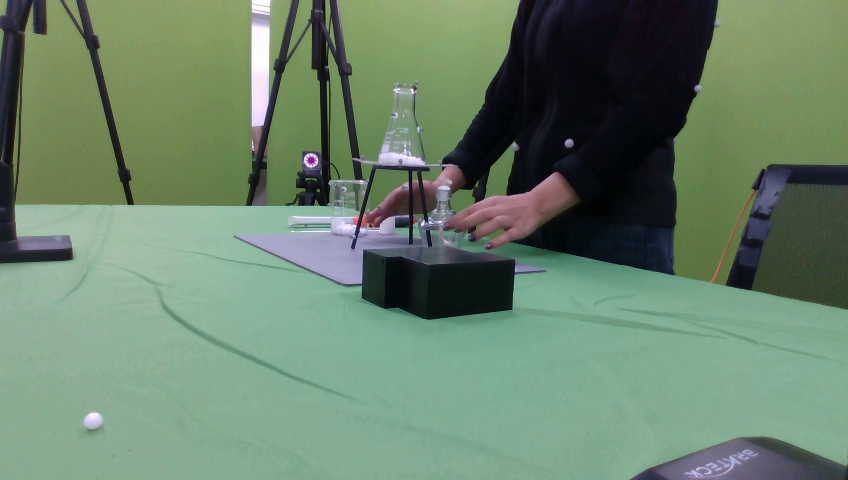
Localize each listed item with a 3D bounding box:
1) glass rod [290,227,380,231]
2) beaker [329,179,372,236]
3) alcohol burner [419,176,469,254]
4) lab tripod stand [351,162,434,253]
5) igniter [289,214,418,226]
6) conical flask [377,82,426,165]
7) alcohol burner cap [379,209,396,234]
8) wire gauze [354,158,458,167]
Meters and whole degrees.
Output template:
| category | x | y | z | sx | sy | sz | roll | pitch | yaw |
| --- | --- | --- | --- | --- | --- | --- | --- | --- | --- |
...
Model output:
| category | x | y | z | sx | sy | sz | roll | pitch | yaw |
| --- | --- | --- | --- | --- | --- | --- | --- | --- | --- |
| glass rod | -0.161 | -0.023 | 1.177 | 0.201 | 0.008 | 0.008 | -2 | 8 | -28 |
| beaker | -0.137 | -0.061 | 1.101 | 0.084 | 0.100 | 0.074 | 4 | 7 | 20 |
| alcohol burner | 0.031 | -0.039 | 0.930 | 0.078 | 0.119 | 0.078 | 0 | 8 | 0 |
| lab tripod stand | -0.034 | -0.052 | 0.933 | 0.148 | 0.131 | 0.148 | 4 | 7 | 0 |
| igniter | -0.141 | -0.042 | 1.258 | 0.278 | 0.025 | 0.057 | -1 | -2 | -30 |
| conical flask | -0.032 | -0.175 | 0.918 | 0.075 | 0.122 | 0.075 | 3 | 8 | 0 |
| alcohol burner cap | -0.069 | -0.036 | 1.154 | 0.034 | 0.048 | 0.034 | 2 | 8 | 0 |
| wire gauze | -0.030 | -0.117 | 0.927 | 0.122 | 0.011 | 0.124 | 0 | 5 | -36 |
